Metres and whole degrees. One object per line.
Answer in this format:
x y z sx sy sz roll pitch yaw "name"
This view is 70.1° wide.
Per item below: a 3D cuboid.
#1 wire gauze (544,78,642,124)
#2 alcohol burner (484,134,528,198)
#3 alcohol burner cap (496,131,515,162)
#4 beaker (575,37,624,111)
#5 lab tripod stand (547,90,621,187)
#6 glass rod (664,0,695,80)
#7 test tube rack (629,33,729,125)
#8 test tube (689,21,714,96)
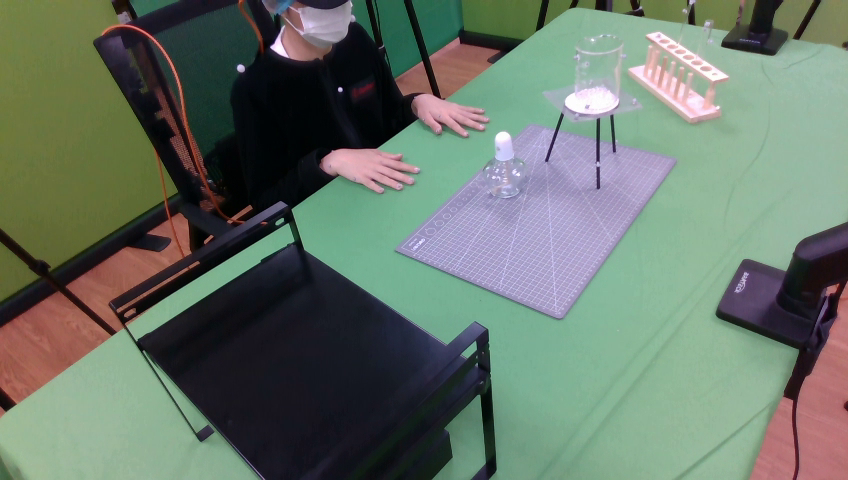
0.282 -0.234 1.022 0.125 0.011 0.120 -17 38 -4 "wire gauze"
0.141 -0.133 1.041 0.078 0.119 0.077 -5 43 5 "alcohol burner"
0.135 -0.160 1.019 0.034 0.048 0.033 -8 38 7 "alcohol burner cap"
0.283 -0.271 0.988 0.074 0.101 0.083 -10 39 1 "beaker"
0.289 -0.184 1.062 0.148 0.132 0.147 -6 41 6 "lab tripod stand"
0.523 -0.415 1.235 0.008 0.200 0.008 1 47 0 "glass rod"
0.516 -0.337 1.248 0.067 0.085 0.240 -14 41 -7 "test tube rack"
0.541 -0.353 1.184 0.017 0.151 0.017 -2 40 2 "test tube"
